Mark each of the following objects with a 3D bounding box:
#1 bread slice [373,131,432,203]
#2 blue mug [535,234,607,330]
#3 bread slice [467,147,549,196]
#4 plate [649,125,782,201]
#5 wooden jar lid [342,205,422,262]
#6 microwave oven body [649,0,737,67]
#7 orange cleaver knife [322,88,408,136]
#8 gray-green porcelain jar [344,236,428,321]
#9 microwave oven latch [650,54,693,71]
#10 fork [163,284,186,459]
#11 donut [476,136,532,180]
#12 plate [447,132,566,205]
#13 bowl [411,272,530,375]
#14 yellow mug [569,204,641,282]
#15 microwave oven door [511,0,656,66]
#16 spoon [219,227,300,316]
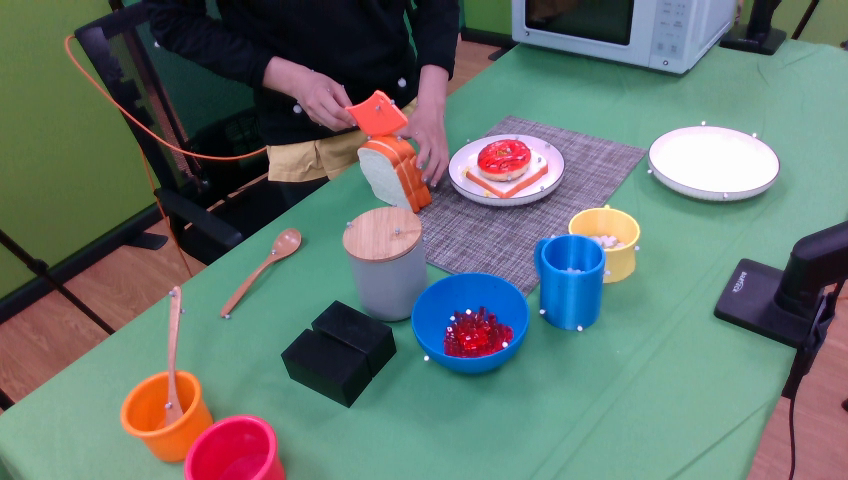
[{"bbox_3d":[-0.041,-0.128,1.041,0.106,0.135,0.018,28,60,34],"label":"bread slice"},{"bbox_3d":[0.191,0.048,0.824,0.082,0.106,0.115,-26,44,-20],"label":"blue mug"},{"bbox_3d":[0.156,-0.128,1.085,0.132,0.019,0.104,-35,49,-23],"label":"bread slice"},{"bbox_3d":[0.493,-0.127,1.036,0.207,0.039,0.206,-4,41,4],"label":"plate"},{"bbox_3d":[-0.055,-0.005,0.808,0.108,0.021,0.108,-6,40,6],"label":"wooden jar lid"},{"bbox_3d":[0.475,-0.602,1.411,0.438,0.261,0.327,23,50,32],"label":"microwave oven body"},{"bbox_3d":[-0.101,-0.204,0.998,0.209,0.077,0.012,3,48,52],"label":"orange cleaver knife"},{"bbox_3d":[-0.049,0.042,0.849,0.106,0.127,0.105,-4,41,4],"label":"gray-green porcelain jar"},{"bbox_3d":[0.531,-0.386,1.301,0.078,0.029,0.030,26,51,33],"label":"microwave oven latch"},{"bbox_3d":[-0.302,0.157,0.733,0.028,0.019,0.207,-3,84,16],"label":"fork"},{"bbox_3d":[0.140,-0.146,1.059,0.099,0.048,0.098,-7,41,6],"label":"donut"},{"bbox_3d":[0.146,-0.124,1.076,0.209,0.038,0.208,-4,41,4],"label":"plate"},{"bbox_3d":[0.061,0.120,0.780,0.151,0.077,0.150,-4,40,4],"label":"bowl"},{"bbox_3d":[0.268,-0.005,0.904,0.099,0.064,0.130,7,41,15],"label":"yellow mug"},{"bbox_3d":[0.351,-0.540,1.349,0.353,0.245,0.039,24,50,31],"label":"microwave oven door"},{"bbox_3d":[-0.261,0.046,0.954,0.041,0.021,0.194,27,48,10],"label":"spoon"}]
